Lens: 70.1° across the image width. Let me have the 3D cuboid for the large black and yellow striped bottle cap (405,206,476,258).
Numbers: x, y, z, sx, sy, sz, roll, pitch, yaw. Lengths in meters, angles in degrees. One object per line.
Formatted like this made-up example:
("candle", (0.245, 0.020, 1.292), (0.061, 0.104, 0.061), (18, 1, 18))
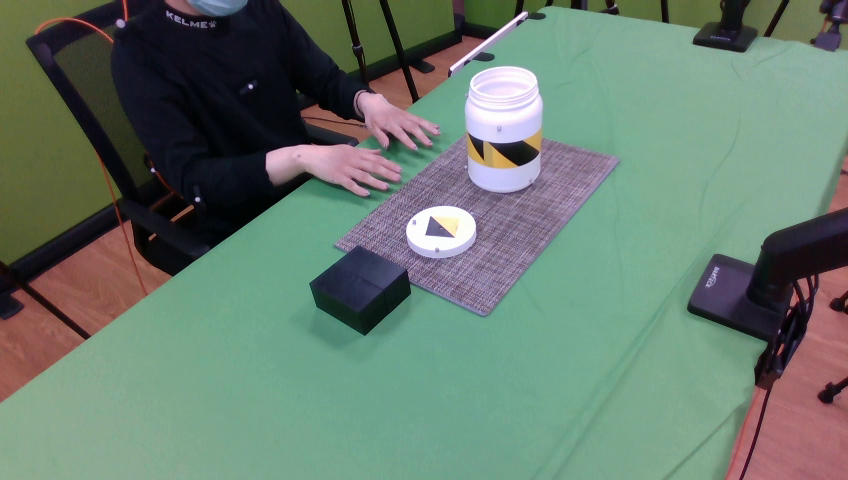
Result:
("large black and yellow striped bottle cap", (0.027, -0.015, 0.981), (0.115, 0.019, 0.114), (-3, 41, 3))

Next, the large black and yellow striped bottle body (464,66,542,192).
("large black and yellow striped bottle body", (0.137, -0.190, 1.040), (0.131, 0.185, 0.130), (-4, 41, 4))
